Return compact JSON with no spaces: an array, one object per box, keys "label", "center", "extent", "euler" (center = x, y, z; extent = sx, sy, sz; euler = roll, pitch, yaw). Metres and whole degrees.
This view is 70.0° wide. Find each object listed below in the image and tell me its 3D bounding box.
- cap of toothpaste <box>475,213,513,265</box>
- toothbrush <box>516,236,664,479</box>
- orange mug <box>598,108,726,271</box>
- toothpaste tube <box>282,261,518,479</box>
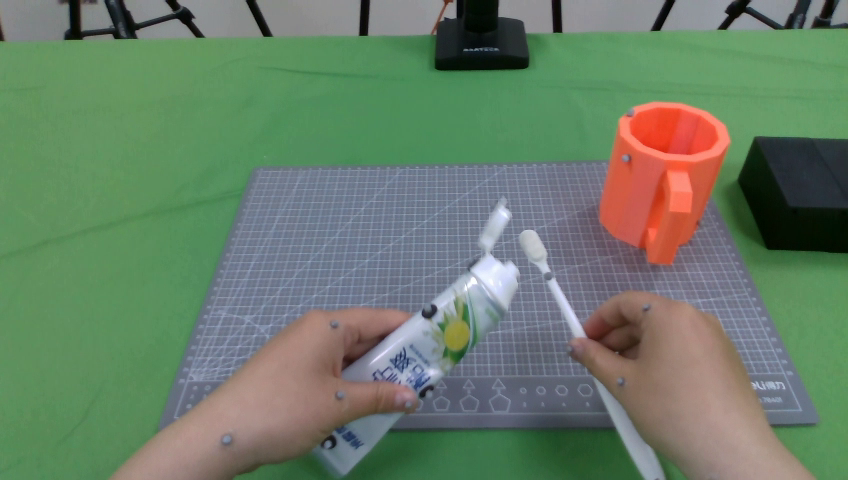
[{"label":"cap of toothpaste","center":[0.045,0.000,0.376],"extent":[0.011,0.037,0.037],"euler":[33,52,18]},{"label":"toothbrush","center":[0.105,0.077,0.383],"extent":[0.014,0.017,0.181],"euler":[-27,82,-1]},{"label":"orange mug","center":[0.198,-0.039,0.509],"extent":[0.083,0.102,0.125],"euler":[5,40,8]},{"label":"toothpaste tube","center":[-0.007,0.073,0.366],"extent":[0.165,0.034,0.055],"euler":[-43,95,-3]}]
